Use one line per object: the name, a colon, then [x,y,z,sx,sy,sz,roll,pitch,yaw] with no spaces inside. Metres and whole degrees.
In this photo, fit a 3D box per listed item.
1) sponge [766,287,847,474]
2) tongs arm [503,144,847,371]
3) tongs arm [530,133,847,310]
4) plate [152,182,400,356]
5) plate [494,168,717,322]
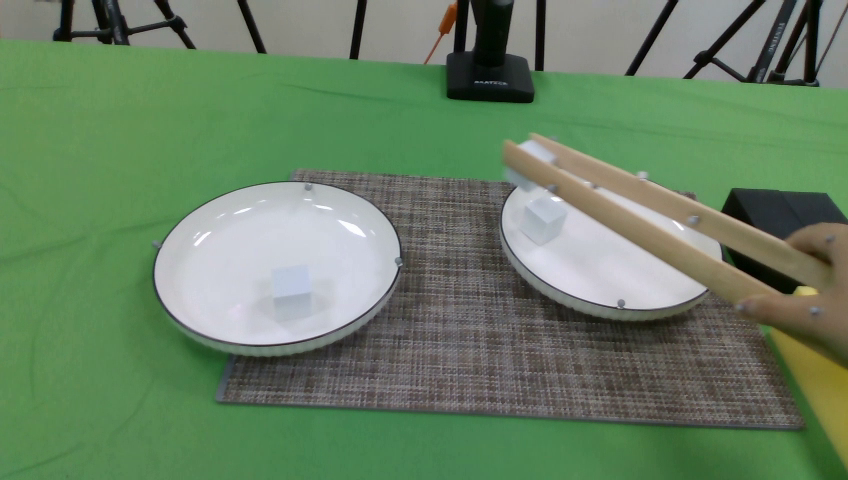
sponge: [0.368,0.129,0.453,0.118,0.061,0.204,0,42,-4]
tongs arm: [0.193,0.012,0.431,0.028,0.028,0.383,-23,42,-31]
tongs arm: [0.211,0.003,0.441,0.051,0.027,0.381,-29,45,-32]
plate: [-0.125,0.024,0.535,0.209,0.038,0.207,3,42,-2]
plate: [0.169,0.004,0.585,0.208,0.039,0.205,3,42,-2]
